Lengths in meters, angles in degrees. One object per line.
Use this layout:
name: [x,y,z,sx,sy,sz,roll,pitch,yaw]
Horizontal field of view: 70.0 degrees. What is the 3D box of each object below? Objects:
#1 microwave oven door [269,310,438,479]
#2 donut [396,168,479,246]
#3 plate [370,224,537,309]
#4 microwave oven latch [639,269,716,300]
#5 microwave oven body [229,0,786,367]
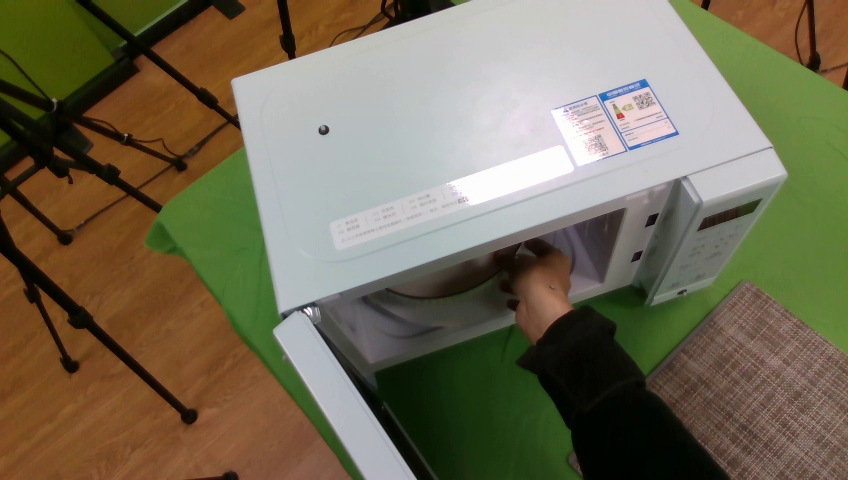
microwave oven door: [0.004,0.234,0.521,0.039,0.246,0.352,-36,64,-10]
donut: [0.017,-0.038,0.704,0.099,0.048,0.098,5,65,-11]
plate: [0.024,-0.008,0.687,0.209,0.038,0.207,-7,53,9]
microwave oven latch: [0.289,0.041,0.691,0.079,0.030,0.030,-19,63,0]
microwave oven body: [0.064,-0.068,0.669,0.442,0.262,0.323,-19,63,-1]
